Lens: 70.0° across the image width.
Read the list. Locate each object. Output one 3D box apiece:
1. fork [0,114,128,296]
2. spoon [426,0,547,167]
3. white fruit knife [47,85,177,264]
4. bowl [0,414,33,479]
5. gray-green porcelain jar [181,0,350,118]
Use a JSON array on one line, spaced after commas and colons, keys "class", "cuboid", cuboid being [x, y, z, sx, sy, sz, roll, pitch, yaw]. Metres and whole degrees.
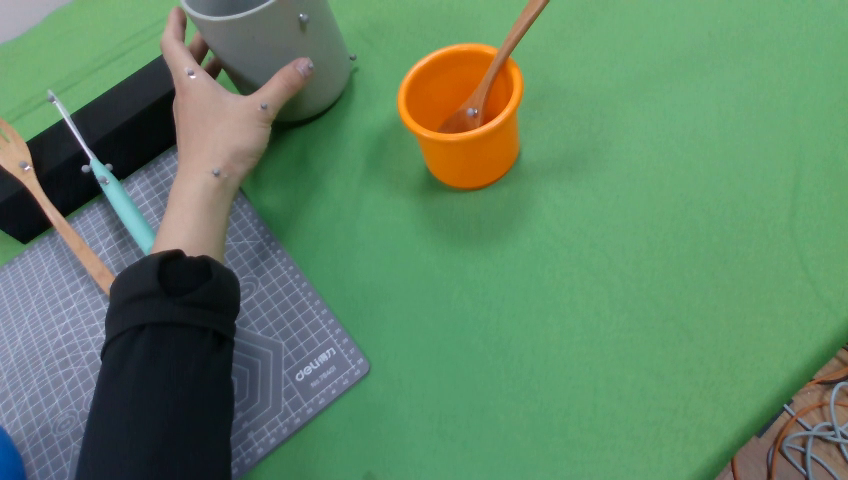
[{"class": "fork", "cuboid": [-0.309, -0.032, 0.501, 0.028, 0.019, 0.206, -39, 79, -16]}, {"class": "spoon", "cuboid": [0.056, -0.130, 0.435, 0.022, 0.194, 0.041, -3, 48, -42]}, {"class": "white fruit knife", "cuboid": [-0.269, -0.061, 0.509, 0.016, 0.027, 0.206, -39, 74, -9]}, {"class": "bowl", "cuboid": [-0.309, 0.178, 0.385, 0.151, 0.077, 0.150, -6, 60, 10]}, {"class": "gray-green porcelain jar", "cuboid": [-0.126, -0.176, 0.514, 0.105, 0.128, 0.105, -6, 60, 10]}]
